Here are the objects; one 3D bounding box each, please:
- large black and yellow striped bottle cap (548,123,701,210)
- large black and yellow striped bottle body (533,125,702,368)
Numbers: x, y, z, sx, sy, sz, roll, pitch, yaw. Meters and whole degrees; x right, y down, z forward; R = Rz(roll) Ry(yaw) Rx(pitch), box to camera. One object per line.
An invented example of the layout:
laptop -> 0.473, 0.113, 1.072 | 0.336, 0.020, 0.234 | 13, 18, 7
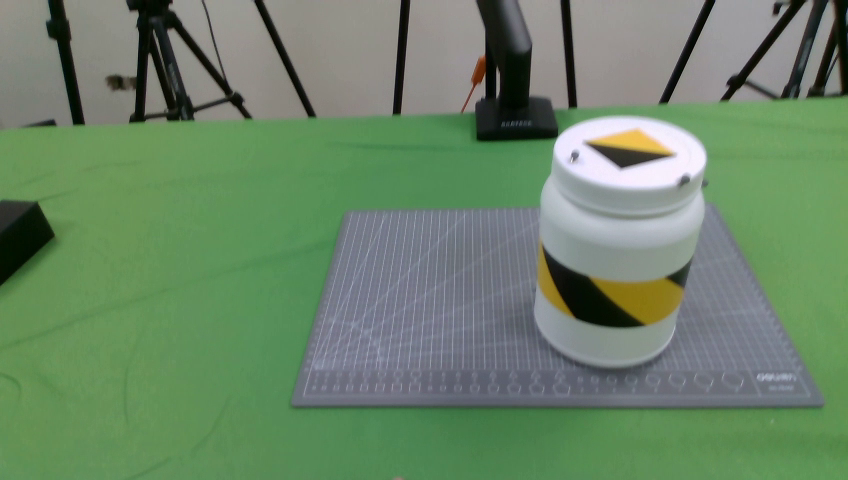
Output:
large black and yellow striped bottle cap -> 0.157, -0.062, 0.480 | 0.115, 0.019, 0.114 | -2, 36, 2
large black and yellow striped bottle body -> 0.164, 0.006, 0.530 | 0.131, 0.185, 0.129 | -3, 37, 2
